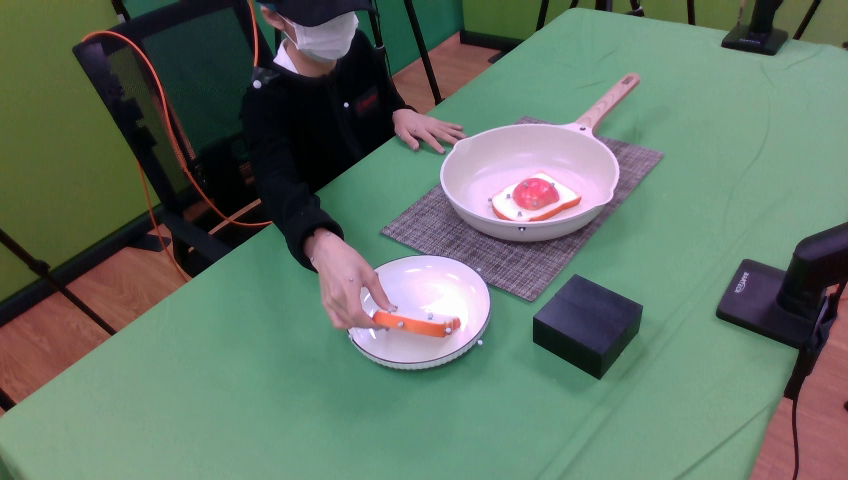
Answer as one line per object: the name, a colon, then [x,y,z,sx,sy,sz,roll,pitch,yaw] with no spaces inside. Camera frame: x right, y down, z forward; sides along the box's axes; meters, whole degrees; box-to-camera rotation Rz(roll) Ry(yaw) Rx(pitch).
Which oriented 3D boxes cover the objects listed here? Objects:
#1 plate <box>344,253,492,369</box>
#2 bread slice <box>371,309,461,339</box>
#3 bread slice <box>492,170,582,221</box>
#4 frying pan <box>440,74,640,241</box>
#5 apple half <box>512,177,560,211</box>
plate: [-0.008,0.100,0.847,0.207,0.039,0.206,-4,40,4]
bread slice: [-0.009,0.106,0.775,0.104,0.132,0.019,9,87,9]
bread slice: [0.183,-0.066,1.015,0.135,0.018,0.106,-28,43,-22]
frying pan: [0.245,-0.161,1.059,0.304,0.103,0.489,30,61,35]
apple half: [0.184,-0.085,1.001,0.081,0.033,0.081,-2,41,2]
